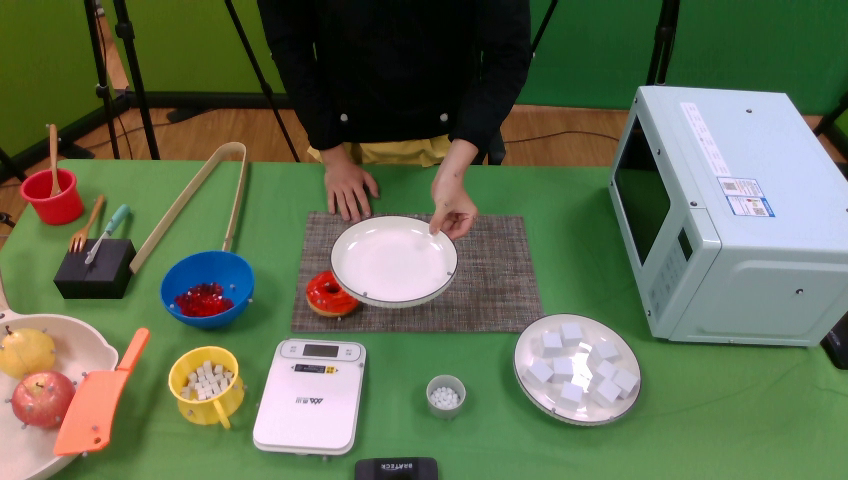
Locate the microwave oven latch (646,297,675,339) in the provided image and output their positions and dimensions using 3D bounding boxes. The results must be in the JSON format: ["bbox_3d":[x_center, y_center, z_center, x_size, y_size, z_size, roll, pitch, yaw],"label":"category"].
[{"bbox_3d":[0.412,0.134,1.061,0.030,0.029,0.078,4,45,1],"label":"microwave oven latch"}]

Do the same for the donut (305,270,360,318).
[{"bbox_3d":[-0.160,0.095,1.075,0.099,0.048,0.098,4,45,-3],"label":"donut"}]

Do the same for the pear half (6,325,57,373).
[{"bbox_3d":[-0.607,0.158,0.935,0.076,0.110,0.056,30,51,19],"label":"pear half"}]

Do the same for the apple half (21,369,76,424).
[{"bbox_3d":[-0.546,0.226,0.898,0.080,0.075,0.053,30,48,27],"label":"apple half"}]

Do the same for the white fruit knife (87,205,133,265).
[{"bbox_3d":[-0.584,-0.013,1.129,0.016,0.027,0.206,0,32,-5],"label":"white fruit knife"}]

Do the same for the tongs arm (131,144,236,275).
[{"bbox_3d":[-0.483,-0.076,1.236,0.028,0.028,0.385,5,45,13],"label":"tongs arm"}]

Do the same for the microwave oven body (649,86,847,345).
[{"bbox_3d":[0.567,-0.053,1.118,0.326,0.261,0.439,2,45,-1],"label":"microwave oven body"}]

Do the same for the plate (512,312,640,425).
[{"bbox_3d":[0.246,0.213,0.999,0.208,0.039,0.206,2,46,-2],"label":"plate"}]

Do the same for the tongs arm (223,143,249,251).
[{"bbox_3d":[-0.397,-0.073,1.232,0.051,0.027,0.382,-3,45,1],"label":"tongs arm"}]

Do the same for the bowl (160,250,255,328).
[{"bbox_3d":[-0.362,0.098,1.040,0.151,0.077,0.150,2,45,-2],"label":"bowl"}]

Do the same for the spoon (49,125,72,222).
[{"bbox_3d":[-0.718,-0.131,1.189,0.041,0.021,0.193,-4,90,-7],"label":"spoon"}]

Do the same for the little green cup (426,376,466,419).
[{"bbox_3d":[0.033,0.248,0.950,0.061,0.039,0.061,2,46,-2],"label":"little green cup"}]

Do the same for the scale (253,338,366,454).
[{"bbox_3d":[-0.175,0.236,0.951,0.149,0.032,0.199,5,45,-1],"label":"scale"}]

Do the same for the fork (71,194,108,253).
[{"bbox_3d":[-0.634,-0.036,1.158,0.028,0.019,0.206,-7,31,-8],"label":"fork"}]

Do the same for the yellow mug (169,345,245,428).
[{"bbox_3d":[-0.322,0.230,0.922,0.100,0.064,0.130,-24,53,-25],"label":"yellow mug"}]

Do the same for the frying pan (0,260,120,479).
[{"bbox_3d":[-0.647,0.164,0.936,0.307,0.103,0.485,-19,58,-22],"label":"frying pan"}]

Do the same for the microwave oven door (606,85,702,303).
[{"bbox_3d":[0.422,-0.094,1.140,0.039,0.245,0.353,2,46,-1],"label":"microwave oven door"}]

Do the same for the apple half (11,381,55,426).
[{"bbox_3d":[-0.570,0.246,0.875,0.081,0.081,0.033,32,49,24],"label":"apple half"}]

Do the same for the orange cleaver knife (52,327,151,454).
[{"bbox_3d":[-0.462,0.212,0.879,0.077,0.012,0.210,6,45,-1],"label":"orange cleaver knife"}]

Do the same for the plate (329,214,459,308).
[{"bbox_3d":[-0.049,0.036,0.985,0.209,0.038,0.208,3,41,-2],"label":"plate"}]

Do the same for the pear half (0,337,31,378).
[{"bbox_3d":[-0.631,0.183,0.923,0.070,0.088,0.031,28,50,14],"label":"pear half"}]
